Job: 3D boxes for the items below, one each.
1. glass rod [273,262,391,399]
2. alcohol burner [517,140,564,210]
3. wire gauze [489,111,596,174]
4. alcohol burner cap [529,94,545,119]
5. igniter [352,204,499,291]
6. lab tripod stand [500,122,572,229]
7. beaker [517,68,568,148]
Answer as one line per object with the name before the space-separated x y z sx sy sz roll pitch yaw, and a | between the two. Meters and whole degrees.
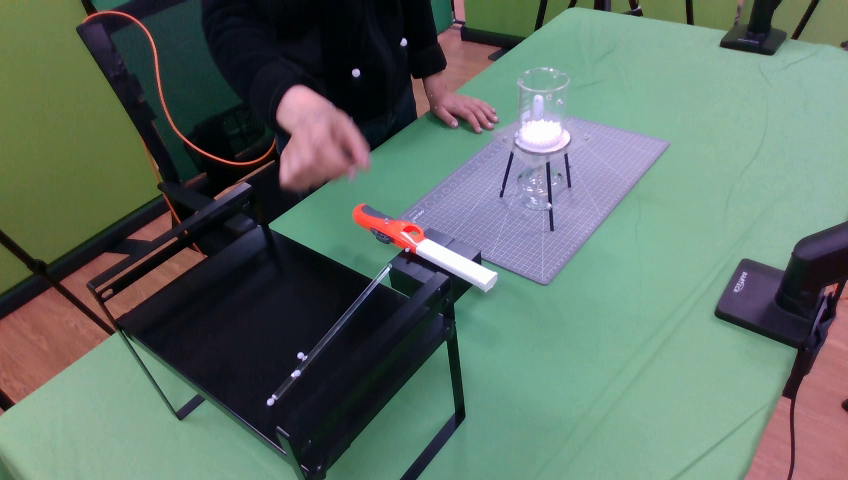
glass rod | -0.088 0.086 0.618 0.008 0.008 0.200 17 46 26
alcohol burner | 0.193 -0.110 1.001 0.078 0.119 0.077 -5 38 5
wire gauze | 0.183 -0.159 0.943 0.122 0.011 0.124 -25 47 -17
alcohol burner cap | 0.233 -0.277 1.247 0.034 0.048 0.033 -5 41 5
igniter | -0.009 0.005 0.895 0.274 0.025 0.057 27 48 32
lab tripod stand | 0.194 -0.110 0.985 0.148 0.132 0.147 -3 42 3
beaker | 0.180 -0.198 0.914 0.073 0.100 0.084 25 49 31
